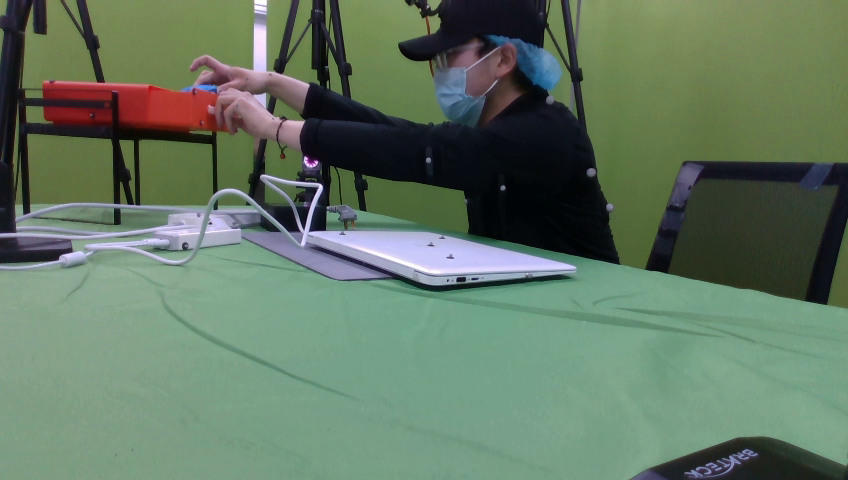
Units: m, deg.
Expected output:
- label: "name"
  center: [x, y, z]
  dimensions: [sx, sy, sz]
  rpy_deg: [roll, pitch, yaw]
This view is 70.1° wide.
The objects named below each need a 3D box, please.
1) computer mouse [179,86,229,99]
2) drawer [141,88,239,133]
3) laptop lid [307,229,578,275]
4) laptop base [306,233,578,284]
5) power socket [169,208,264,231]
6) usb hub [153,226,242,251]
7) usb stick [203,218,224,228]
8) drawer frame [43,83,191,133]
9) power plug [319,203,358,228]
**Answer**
- label: "computer mouse"
  center: [-0.448, -0.285, 1.207]
  dimensions: [0.062, 0.041, 0.117]
  rpy_deg: [5, 20, 21]
- label: "drawer"
  center: [-0.508, -0.257, 1.209]
  dimensions: [0.211, 0.073, 0.194]
  rpy_deg: [3, 7, 7]
- label: "laptop lid"
  center: [0.009, 0.010, 0.850]
  dimensions: [0.243, 0.013, 0.355]
  rpy_deg: [0, 8, -32]
- label: "laptop base"
  center: [0.007, 0.022, 0.850]
  dimensions: [0.237, 0.023, 0.352]
  rpy_deg: [1, 7, -34]
- label: "power socket"
  center: [-0.381, -0.038, 1.128]
  dimensions: [0.072, 0.032, 0.227]
  rpy_deg: [4, 8, 16]
- label: "usb hub"
  center: [-0.337, -0.003, 0.907]
  dimensions: [0.049, 0.025, 0.125]
  rpy_deg: [6, 9, 28]
- label: "usb stick"
  center: [-0.346, -0.020, 1.008]
  dimensions: [0.027, 0.021, 0.059]
  rpy_deg: [43, -6, 1]
- label: "drawer frame"
  center: [-0.596, -0.263, 1.217]
  dimensions: [0.213, 0.082, 0.201]
  rpy_deg: [2, 8, 4]
- label: "power plug"
  center: [-0.169, -0.046, 1.207]
  dimensions: [0.072, 0.052, 0.035]
  rpy_deg: [-8, -11, 1]
